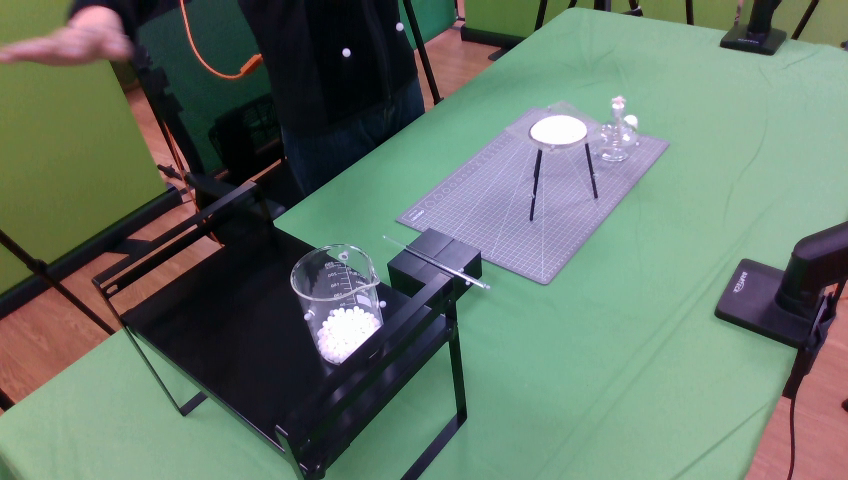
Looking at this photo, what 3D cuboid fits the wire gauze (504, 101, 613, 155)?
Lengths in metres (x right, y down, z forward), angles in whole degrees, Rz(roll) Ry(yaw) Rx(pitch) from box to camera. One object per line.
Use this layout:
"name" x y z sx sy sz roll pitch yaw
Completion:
"wire gauze" 0.211 -0.176 0.955 0.125 0.011 0.120 -24 44 -18

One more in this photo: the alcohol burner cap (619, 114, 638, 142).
"alcohol burner cap" 0.388 -0.214 1.145 0.034 0.048 0.033 -3 39 3

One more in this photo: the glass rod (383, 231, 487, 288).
"glass rod" 0.011 0.027 0.879 0.198 0.008 0.008 27 51 34

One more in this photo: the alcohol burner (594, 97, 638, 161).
"alcohol burner" 0.345 -0.203 1.083 0.078 0.119 0.077 -5 42 5

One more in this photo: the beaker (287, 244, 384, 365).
"beaker" -0.076 0.065 0.574 0.083 0.101 0.074 7 44 15

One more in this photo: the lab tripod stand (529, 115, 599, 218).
"lab tripod stand" 0.217 -0.123 0.995 0.148 0.132 0.147 -4 42 4
